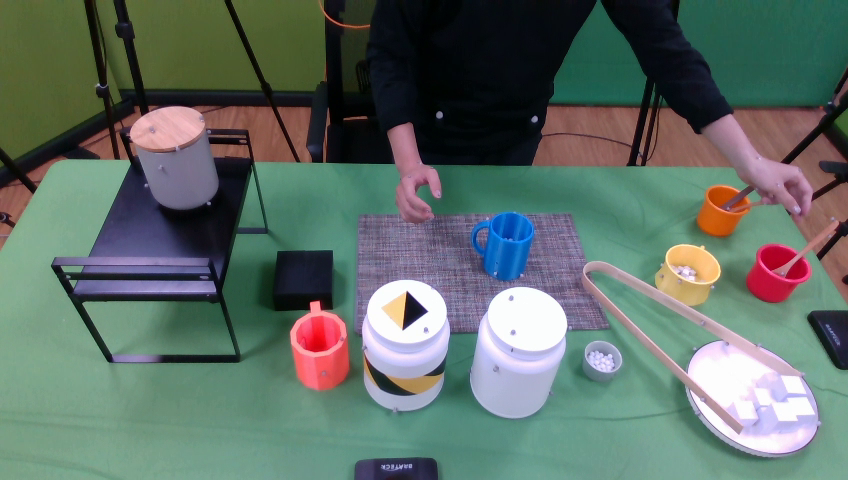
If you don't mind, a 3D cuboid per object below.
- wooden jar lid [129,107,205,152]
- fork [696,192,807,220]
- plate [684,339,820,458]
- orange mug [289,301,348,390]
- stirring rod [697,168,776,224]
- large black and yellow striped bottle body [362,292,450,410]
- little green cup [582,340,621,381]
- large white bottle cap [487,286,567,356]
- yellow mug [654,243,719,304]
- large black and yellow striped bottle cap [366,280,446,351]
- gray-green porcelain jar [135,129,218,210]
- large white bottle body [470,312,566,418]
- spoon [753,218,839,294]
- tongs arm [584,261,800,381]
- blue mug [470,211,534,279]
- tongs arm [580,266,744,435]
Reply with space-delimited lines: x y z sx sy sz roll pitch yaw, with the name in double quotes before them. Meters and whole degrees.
"wooden jar lid" -0.385 -0.163 0.915 0.108 0.021 0.107 2 47 -2
"fork" 0.655 -0.069 1.224 0.207 0.019 0.028 -17 30 45
"plate" 0.523 0.256 0.982 0.208 0.039 0.206 2 46 -2
"orange mug" -0.170 0.162 0.976 0.083 0.101 0.125 -7 52 -11
"stirring rod" 0.644 -0.090 1.251 0.176 0.006 0.014 -39 55 16
"large black and yellow striped bottle body" -0.029 0.163 0.928 0.131 0.185 0.130 2 47 -2
"little green cup" 0.295 0.203 1.015 0.061 0.039 0.061 2 45 -2
"large white bottle cap" 0.147 0.114 0.869 0.115 0.018 0.114 3 46 -3
"yellow mug" 0.504 0.054 1.154 0.099 0.064 0.130 28 49 22
"large black and yellow striped bottle cap" -0.025 0.106 0.865 0.115 0.019 0.114 2 46 -1
"gray-green porcelain jar" -0.388 -0.120 0.960 0.106 0.127 0.105 2 46 -2
"large white bottle body" 0.143 0.173 0.930 0.131 0.185 0.130 2 46 -2
"spoon" 0.700 0.030 1.138 0.194 0.022 0.041 -47 55 14
"tongs arm" 0.452 0.137 1.064 0.051 0.027 0.382 -34 50 -27
"blue mug" 0.141 0.005 1.140 0.116 0.106 0.082 18 48 13
"tongs arm" 0.384 0.173 1.028 0.028 0.028 0.385 -25 46 -15
